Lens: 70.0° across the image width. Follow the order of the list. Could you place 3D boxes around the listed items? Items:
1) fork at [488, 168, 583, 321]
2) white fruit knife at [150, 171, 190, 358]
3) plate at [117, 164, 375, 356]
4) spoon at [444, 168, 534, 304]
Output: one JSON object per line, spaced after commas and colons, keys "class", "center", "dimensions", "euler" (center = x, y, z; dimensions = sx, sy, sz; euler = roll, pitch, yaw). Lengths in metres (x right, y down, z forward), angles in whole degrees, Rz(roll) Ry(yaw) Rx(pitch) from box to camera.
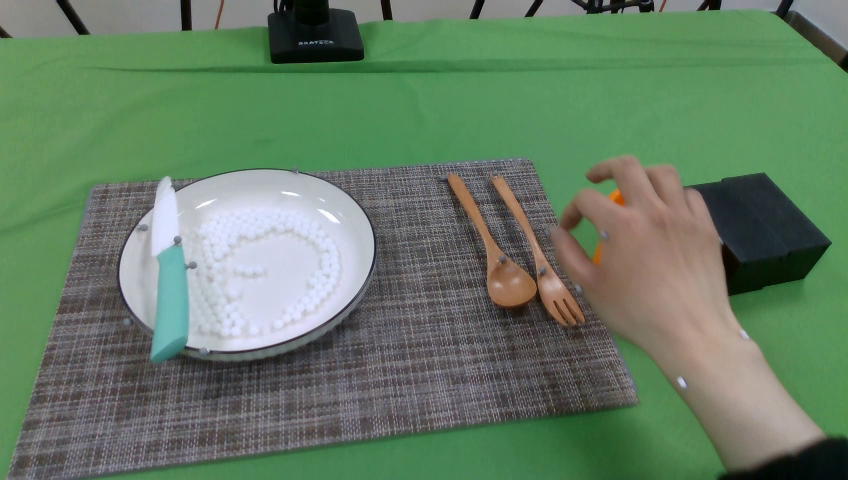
{"class": "fork", "center": [0.097, -0.003, 0.571], "dimensions": [0.028, 0.019, 0.205], "euler": [-12, 51, -8]}
{"class": "white fruit knife", "center": [-0.207, 0.007, 0.490], "dimensions": [0.027, 0.016, 0.205], "euler": [-13, 48, -12]}
{"class": "plate", "center": [-0.146, 0.014, 0.519], "dimensions": [0.209, 0.038, 0.207], "euler": [3, 47, -2]}
{"class": "spoon", "center": [0.054, -0.011, 0.572], "dimensions": [0.041, 0.022, 0.191], "euler": [-22, 50, -1]}
